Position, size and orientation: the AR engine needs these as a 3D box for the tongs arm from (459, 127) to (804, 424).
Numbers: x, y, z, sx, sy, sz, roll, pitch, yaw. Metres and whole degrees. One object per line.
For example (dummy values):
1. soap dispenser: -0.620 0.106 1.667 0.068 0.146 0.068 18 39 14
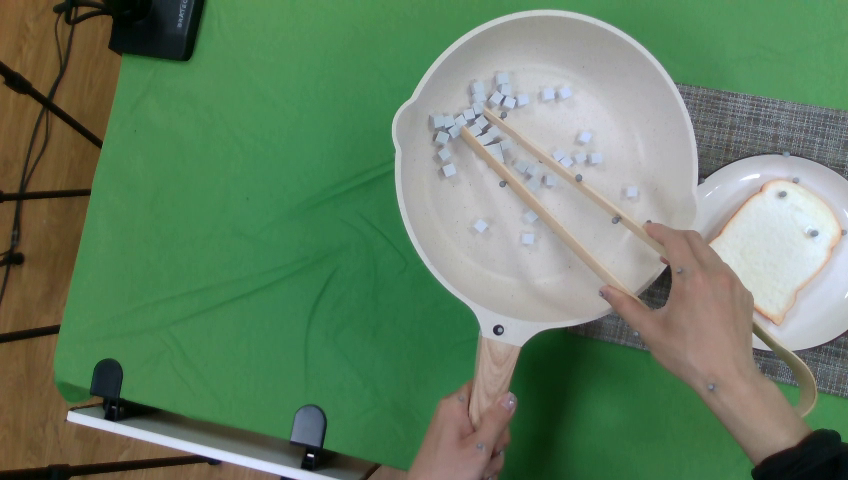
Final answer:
1. tongs arm: 0.169 0.025 0.546 0.028 0.028 0.385 -42 76 -11

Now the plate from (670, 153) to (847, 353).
1. plate: 0.362 0.013 0.638 0.207 0.039 0.207 -1 84 9

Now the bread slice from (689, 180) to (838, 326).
1. bread slice: 0.362 0.005 0.640 0.106 0.018 0.134 36 93 10

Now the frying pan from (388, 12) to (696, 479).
1. frying pan: 0.083 0.036 0.573 0.308 0.102 0.486 17 82 -8

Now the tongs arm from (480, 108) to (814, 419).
1. tongs arm: 0.184 0.011 0.549 0.383 0.027 0.050 40 81 14
